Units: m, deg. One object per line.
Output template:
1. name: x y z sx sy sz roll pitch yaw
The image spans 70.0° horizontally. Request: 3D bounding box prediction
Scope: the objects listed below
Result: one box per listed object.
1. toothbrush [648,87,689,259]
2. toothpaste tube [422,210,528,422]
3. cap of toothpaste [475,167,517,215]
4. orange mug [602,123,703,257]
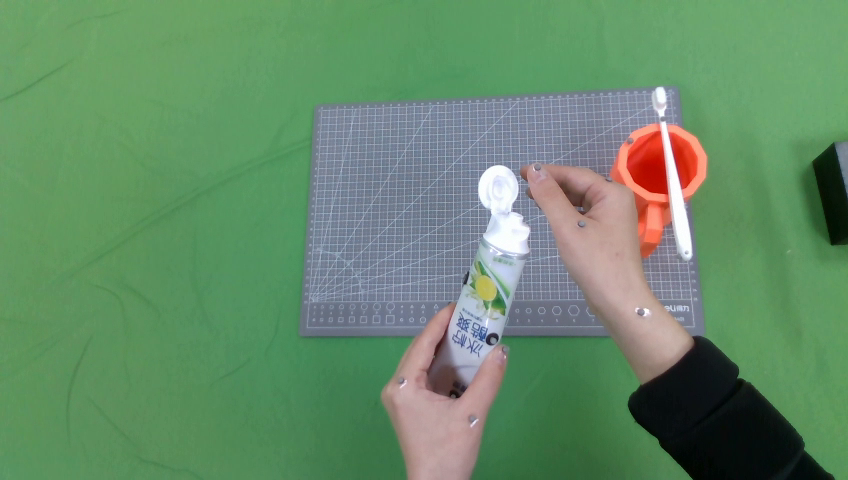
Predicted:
1. toothbrush: 0.242 -0.070 0.598 0.014 0.017 0.181 -4 74 3
2. toothpaste tube: 0.039 0.054 0.448 0.054 0.035 0.166 29 113 34
3. cap of toothpaste: 0.053 -0.035 0.436 0.037 0.011 0.037 -3 97 -29
4. orange mug: 0.239 -0.049 0.648 0.083 0.101 0.125 7 71 10
